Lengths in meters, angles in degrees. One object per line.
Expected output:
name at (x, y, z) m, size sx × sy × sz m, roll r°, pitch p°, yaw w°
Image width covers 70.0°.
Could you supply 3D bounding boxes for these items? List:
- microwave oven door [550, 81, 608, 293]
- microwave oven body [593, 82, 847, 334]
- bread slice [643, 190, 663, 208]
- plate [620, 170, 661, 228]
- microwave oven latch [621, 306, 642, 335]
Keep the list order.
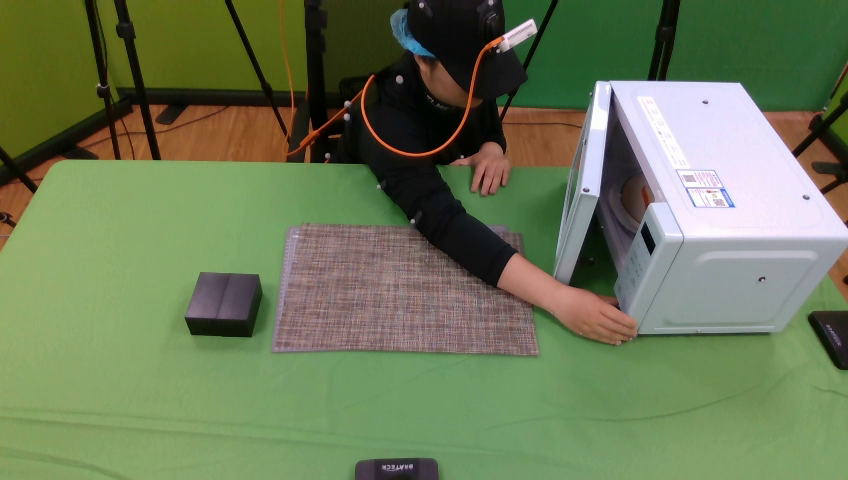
microwave oven door at (0.300, -0.109, 1.149) m, size 0.039 × 0.245 × 0.354 m, roll 13°, pitch 47°, yaw 8°
microwave oven body at (0.501, -0.069, 1.132) m, size 0.326 × 0.261 × 0.438 m, roll -1°, pitch 45°, yaw -3°
bread slice at (0.494, -0.056, 1.197) m, size 0.105 × 0.019 × 0.131 m, roll 5°, pitch 41°, yaw 4°
plate at (0.489, -0.059, 1.194) m, size 0.209 × 0.038 × 0.208 m, roll 3°, pitch 46°, yaw -3°
microwave oven latch at (0.363, 0.127, 1.066) m, size 0.030 × 0.029 × 0.079 m, roll 9°, pitch 46°, yaw 7°
